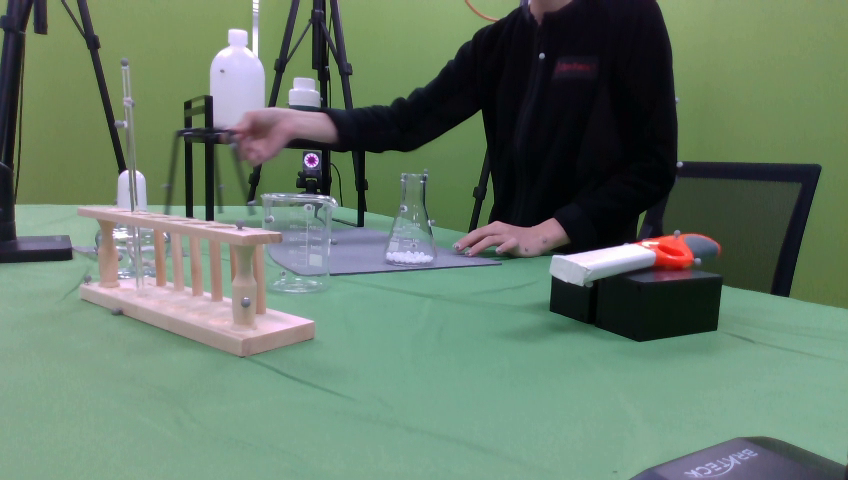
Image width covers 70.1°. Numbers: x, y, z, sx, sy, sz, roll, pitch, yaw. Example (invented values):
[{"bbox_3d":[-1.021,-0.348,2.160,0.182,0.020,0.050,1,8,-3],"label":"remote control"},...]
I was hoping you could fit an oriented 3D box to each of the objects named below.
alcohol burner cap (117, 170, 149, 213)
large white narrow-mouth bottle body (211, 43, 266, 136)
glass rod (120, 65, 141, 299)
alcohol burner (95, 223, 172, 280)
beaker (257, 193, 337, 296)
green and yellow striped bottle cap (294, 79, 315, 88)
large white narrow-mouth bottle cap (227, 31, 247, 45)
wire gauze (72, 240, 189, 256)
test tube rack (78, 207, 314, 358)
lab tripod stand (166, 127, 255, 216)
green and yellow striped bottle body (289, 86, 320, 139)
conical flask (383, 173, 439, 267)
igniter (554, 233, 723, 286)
[{"bbox_3d":[-0.320,-0.052,0.661,0.034,0.048,0.034,-3,0,0],"label":"alcohol burner cap"},{"bbox_3d":[-0.361,-0.302,1.176,0.102,0.194,0.102,1,7,0],"label":"large white narrow-mouth bottle body"},{"bbox_3d":[-0.248,-0.047,0.513,0.008,0.199,0.008,-1,4,0],"label":"glass rod"},{"bbox_3d":[-0.320,-0.017,0.667,0.078,0.119,0.078,0,7,0],"label":"alcohol burner"},{"bbox_3d":[-0.130,0.003,0.628,0.084,0.100,0.074,5,8,15],"label":"beaker"},{"bbox_3d":[-0.248,-0.323,1.256,0.045,0.020,0.045,3,9,0],"label":"green and yellow striped bottle cap"},{"bbox_3d":[-0.361,-0.388,1.165,0.038,0.024,0.037,1,7,0],"label":"large white narrow-mouth bottle cap"},{"bbox_3d":[-0.399,0.013,0.820,0.126,0.011,0.121,-3,8,-37],"label":"wire gauze"},{"bbox_3d":[-0.196,0.024,0.500,0.241,0.085,0.067,8,8,37],"label":"test tube rack"},{"bbox_3d":[-0.328,-0.103,0.933,0.148,0.131,0.148,-4,4,1],"label":"lab tripod stand"},{"bbox_3d":[-0.250,-0.272,1.261,0.063,0.119,0.063,3,7,0],"label":"green and yellow striped bottle body"},{"bbox_3d":[-0.016,-0.028,0.808,0.075,0.122,0.075,2,8,0],"label":"conical flask"},{"bbox_3d":[0.214,0.015,0.570,0.278,0.025,0.057,-5,22,-44],"label":"igniter"}]
